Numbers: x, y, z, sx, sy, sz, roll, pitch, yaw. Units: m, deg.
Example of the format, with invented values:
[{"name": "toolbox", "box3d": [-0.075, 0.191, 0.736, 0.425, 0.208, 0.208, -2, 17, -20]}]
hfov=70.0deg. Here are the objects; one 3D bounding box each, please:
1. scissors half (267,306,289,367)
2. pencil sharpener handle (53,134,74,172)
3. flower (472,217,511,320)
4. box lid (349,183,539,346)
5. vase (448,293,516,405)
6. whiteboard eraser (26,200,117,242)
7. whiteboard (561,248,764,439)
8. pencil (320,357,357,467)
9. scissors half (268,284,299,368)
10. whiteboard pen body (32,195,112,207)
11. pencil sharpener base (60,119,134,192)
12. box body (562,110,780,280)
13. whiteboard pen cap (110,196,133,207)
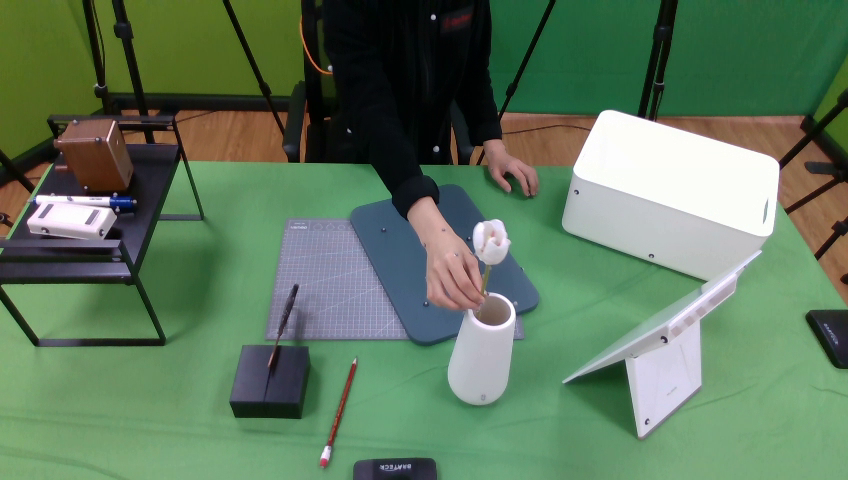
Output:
[{"name": "scissors half", "box3d": [-0.238, 0.150, 0.997, 0.013, 0.040, 0.174, 23, 25, -12]}, {"name": "pencil sharpener handle", "box3d": [-0.577, -0.138, 0.961, 0.031, 0.068, 0.036, -4, 34, -7]}, {"name": "flower", "box3d": [0.079, 0.081, 0.829, 0.044, 0.363, 0.038, 34, 65, 20]}, {"name": "box lid", "box3d": [0.030, 0.031, 1.176, 0.263, 0.015, 0.369, -16, 49, -19]}, {"name": "vase", "box3d": [0.091, 0.169, 0.921, 0.098, 0.201, 0.097, 3, 47, -3]}, {"name": "whiteboard eraser", "box3d": [-0.532, -0.026, 0.919, 0.113, 0.042, 0.055, 7, 45, 3]}, {"name": "whiteboard", "box3d": [0.386, 0.176, 0.905, 0.217, 0.306, 0.143, -26, 72, -27]}, {"name": "pencil", "box3d": [-0.130, 0.261, 0.947, 0.012, 0.012, 0.193, 10, 45, 5]}, {"name": "scissors half", "box3d": [-0.230, 0.135, 0.986, 0.013, 0.040, 0.174, 18, 43, -10]}, {"name": "whiteboard pen body", "box3d": [-0.543, -0.061, 0.961, 0.141, 0.017, 0.017, 1, 46, -10]}, {"name": "pencil sharpener base", "box3d": [-0.528, -0.135, 0.979, 0.077, 0.107, 0.061, -4, 47, -7]}, {"name": "box body", "box3d": [0.486, -0.088, 1.222, 0.363, 0.161, 0.253, 20, 48, 15]}, {"name": "whiteboard pen cap", "box3d": [-0.486, -0.061, 0.972, 0.033, 0.018, 0.018, 0, 47, -9]}]
